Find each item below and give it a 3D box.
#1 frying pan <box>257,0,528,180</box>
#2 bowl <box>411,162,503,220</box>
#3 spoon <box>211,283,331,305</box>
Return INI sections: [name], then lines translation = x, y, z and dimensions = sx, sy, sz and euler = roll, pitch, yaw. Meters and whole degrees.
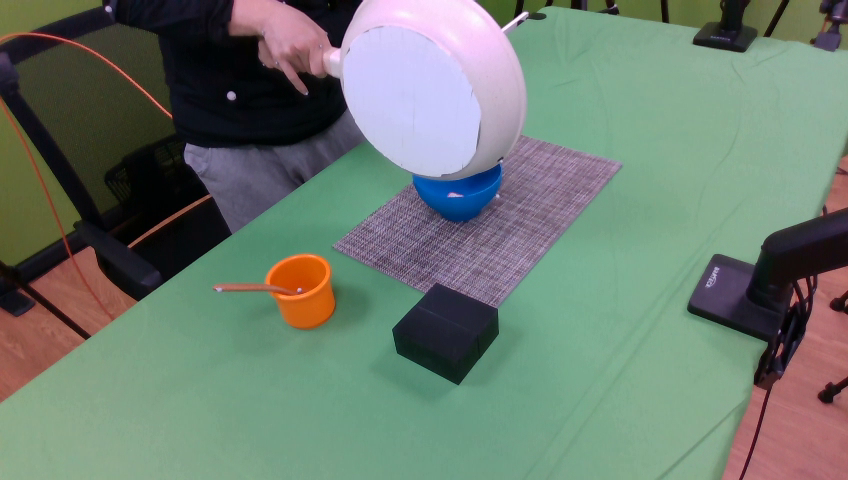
[frying pan]
translation = -0.081, -0.245, 0.892
dimensions = 0.484, 0.308, 0.103
euler = 28, 50, 29
[bowl]
translation = 0.057, -0.086, 1.010
dimensions = 0.151, 0.077, 0.150
euler = -4, 41, 4
[spoon]
translation = -0.201, 0.069, 0.819
dimensions = 0.041, 0.195, 0.021
euler = 32, 99, 37
